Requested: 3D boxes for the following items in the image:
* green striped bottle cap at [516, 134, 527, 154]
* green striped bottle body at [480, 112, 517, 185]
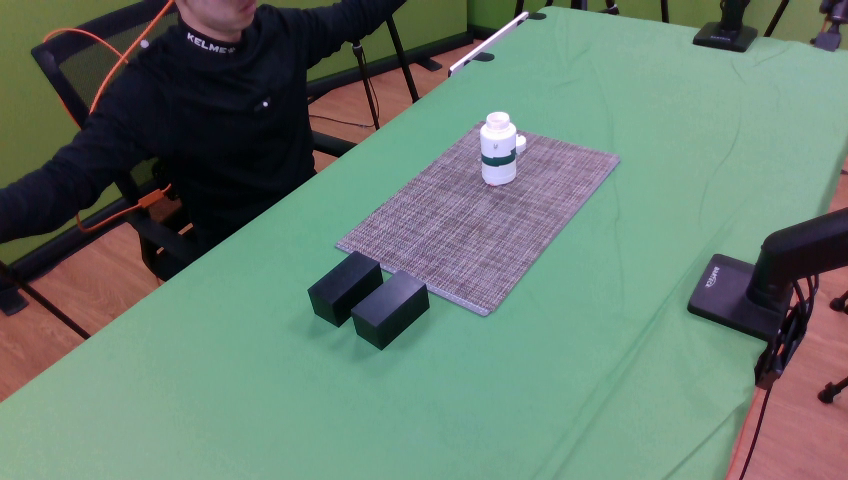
[{"bbox_3d":[0.175,-0.183,1.158,0.044,0.020,0.044,-5,43,5],"label":"green striped bottle cap"},{"bbox_3d":[0.130,-0.162,1.057,0.063,0.120,0.063,-4,40,4],"label":"green striped bottle body"}]
